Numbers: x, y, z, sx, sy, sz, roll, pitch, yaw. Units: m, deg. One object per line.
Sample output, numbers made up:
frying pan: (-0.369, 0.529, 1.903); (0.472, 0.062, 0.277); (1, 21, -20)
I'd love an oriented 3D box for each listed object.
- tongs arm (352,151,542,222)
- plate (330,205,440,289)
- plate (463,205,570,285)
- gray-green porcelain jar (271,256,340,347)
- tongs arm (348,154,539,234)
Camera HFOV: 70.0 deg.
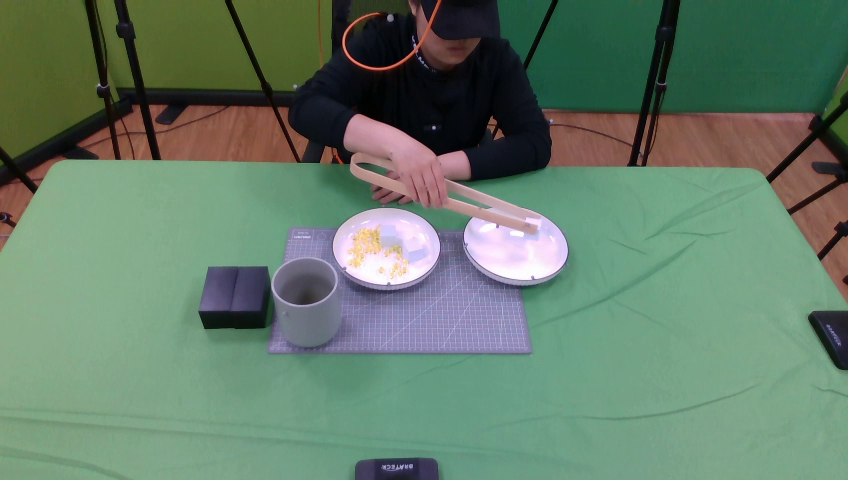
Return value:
tongs arm: (0.042, -0.105, 1.183); (0.387, 0.028, 0.028); (19, 48, 4)
plate: (-0.074, 0.017, 1.160); (0.208, 0.039, 0.206); (2, 46, -2)
plate: (0.178, 0.012, 1.184); (0.209, 0.038, 0.208); (3, 46, -3)
gray-green porcelain jar: (-0.193, 0.107, 1.004); (0.106, 0.127, 0.105); (2, 46, -2)
tongs arm: (0.035, -0.089, 1.166); (0.385, 0.026, 0.050); (16, 45, 1)
